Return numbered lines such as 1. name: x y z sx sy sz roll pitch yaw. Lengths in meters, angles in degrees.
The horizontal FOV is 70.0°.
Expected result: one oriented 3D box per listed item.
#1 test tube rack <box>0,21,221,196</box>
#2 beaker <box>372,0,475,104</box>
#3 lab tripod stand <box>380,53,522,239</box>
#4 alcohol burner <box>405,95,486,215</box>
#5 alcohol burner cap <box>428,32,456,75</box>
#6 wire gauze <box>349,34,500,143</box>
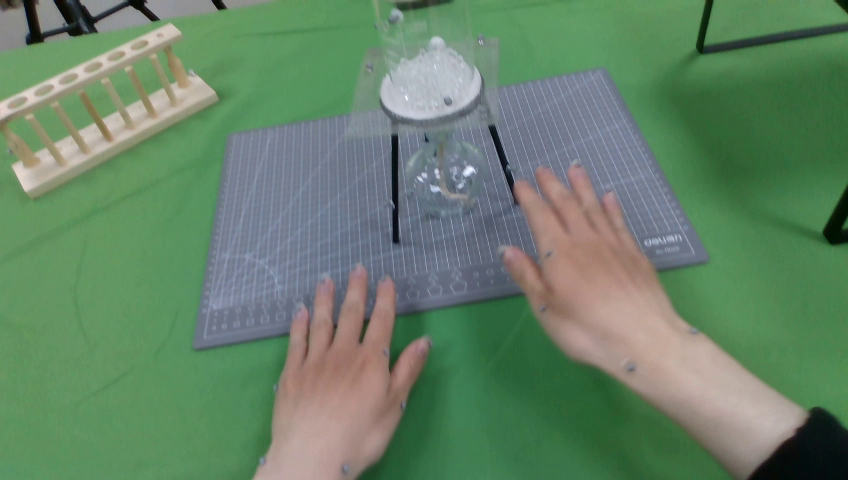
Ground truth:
1. test tube rack: -0.377 -0.159 0.717 0.242 0.086 0.066 -35 53 -19
2. beaker: -0.001 -0.164 0.469 0.083 0.101 0.074 22 59 26
3. lab tripod stand: 0.015 -0.086 0.552 0.148 0.133 0.147 -4 51 6
4. alcohol burner: 0.018 -0.081 0.560 0.078 0.120 0.077 -6 48 7
5. alcohol burner cap: 0.021 -0.229 0.737 0.034 0.048 0.033 -5 50 7
6. wire gauze: 0.002 -0.132 0.506 0.121 0.011 0.124 -3 54 10
